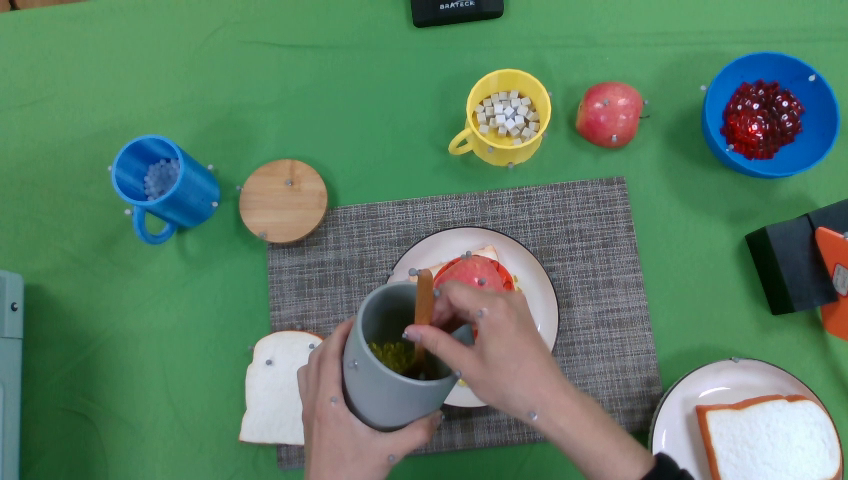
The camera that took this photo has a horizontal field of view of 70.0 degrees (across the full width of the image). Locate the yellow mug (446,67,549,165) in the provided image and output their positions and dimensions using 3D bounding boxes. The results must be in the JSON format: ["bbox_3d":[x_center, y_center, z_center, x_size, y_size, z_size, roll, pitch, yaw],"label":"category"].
[{"bbox_3d":[0.084,-0.142,0.736,0.131,0.064,0.099,-30,79,-3],"label":"yellow mug"}]

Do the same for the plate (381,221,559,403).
[{"bbox_3d":[0.050,0.083,0.706,0.207,0.039,0.207,0,80,2],"label":"plate"}]

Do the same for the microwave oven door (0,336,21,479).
[{"bbox_3d":[-0.481,0.266,0.572,0.039,0.245,0.354,-6,79,1],"label":"microwave oven door"}]

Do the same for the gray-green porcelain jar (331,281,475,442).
[{"bbox_3d":[-0.025,0.116,0.553,0.106,0.127,0.105,13,45,-13],"label":"gray-green porcelain jar"}]

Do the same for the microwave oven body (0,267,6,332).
[{"bbox_3d":[-0.630,0.241,0.587,0.326,0.261,0.439,-6,80,1],"label":"microwave oven body"}]

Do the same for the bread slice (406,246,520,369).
[{"bbox_3d":[0.054,0.083,0.713,0.107,0.018,0.133,-24,75,-4],"label":"bread slice"}]

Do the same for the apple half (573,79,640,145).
[{"bbox_3d":[0.225,-0.162,0.742,0.074,0.053,0.080,16,81,8],"label":"apple half"}]

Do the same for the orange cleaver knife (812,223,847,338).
[{"bbox_3d":[0.468,0.084,0.671,0.012,0.077,0.212,-17,101,-8],"label":"orange cleaver knife"}]

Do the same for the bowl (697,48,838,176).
[{"bbox_3d":[0.390,-0.140,0.718,0.151,0.077,0.151,0,80,2],"label":"bowl"}]

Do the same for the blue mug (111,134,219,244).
[{"bbox_3d":[-0.306,-0.052,0.713,0.082,0.106,0.116,14,80,5],"label":"blue mug"}]

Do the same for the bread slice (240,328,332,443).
[{"bbox_3d":[-0.160,0.169,0.708,0.105,0.019,0.131,1,81,2],"label":"bread slice"}]

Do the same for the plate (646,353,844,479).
[{"bbox_3d":[0.348,0.230,0.670,0.209,0.038,0.208,0,79,2],"label":"plate"}]

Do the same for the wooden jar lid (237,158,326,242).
[{"bbox_3d":[-0.174,-0.048,0.748,0.108,0.021,0.108,-1,76,3],"label":"wooden jar lid"}]

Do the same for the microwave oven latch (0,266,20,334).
[{"bbox_3d":[-0.497,0.071,0.712,0.030,0.029,0.079,-2,80,1],"label":"microwave oven latch"}]

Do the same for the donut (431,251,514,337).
[{"bbox_3d":[0.052,0.061,0.681,0.099,0.048,0.098,0,79,2],"label":"donut"}]

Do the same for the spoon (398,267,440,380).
[{"bbox_3d":[-0.002,0.085,0.517,0.041,0.195,0.021,16,55,10],"label":"spoon"}]

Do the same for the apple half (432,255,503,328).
[{"bbox_3d":[0.047,0.054,0.646,0.081,0.033,0.081,-2,78,9],"label":"apple half"}]
